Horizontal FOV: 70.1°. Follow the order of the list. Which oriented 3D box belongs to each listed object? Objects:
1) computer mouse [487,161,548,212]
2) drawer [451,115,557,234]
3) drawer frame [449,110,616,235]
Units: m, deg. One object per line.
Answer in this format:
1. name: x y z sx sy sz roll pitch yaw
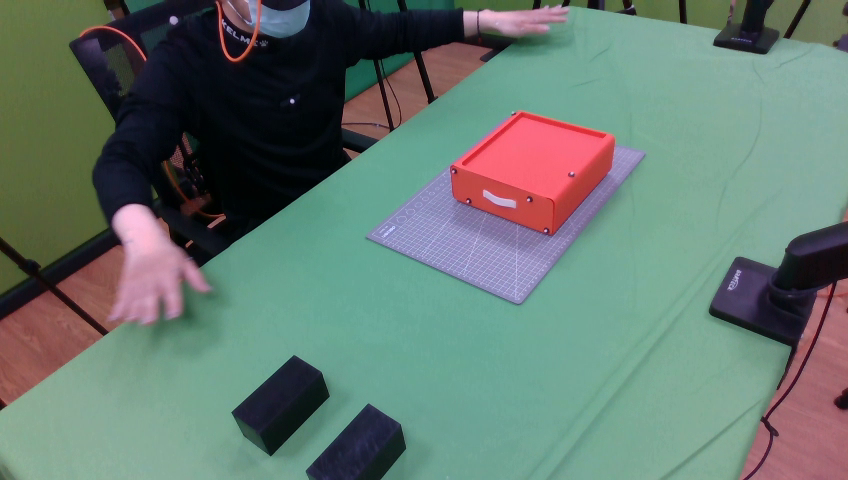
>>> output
1. computer mouse: 0.158 -0.095 1.025 0.063 0.041 0.116 -14 48 -21
2. drawer: 0.185 -0.121 1.034 0.193 0.073 0.212 23 48 31
3. drawer frame: 0.186 -0.124 1.035 0.200 0.083 0.214 22 48 31
